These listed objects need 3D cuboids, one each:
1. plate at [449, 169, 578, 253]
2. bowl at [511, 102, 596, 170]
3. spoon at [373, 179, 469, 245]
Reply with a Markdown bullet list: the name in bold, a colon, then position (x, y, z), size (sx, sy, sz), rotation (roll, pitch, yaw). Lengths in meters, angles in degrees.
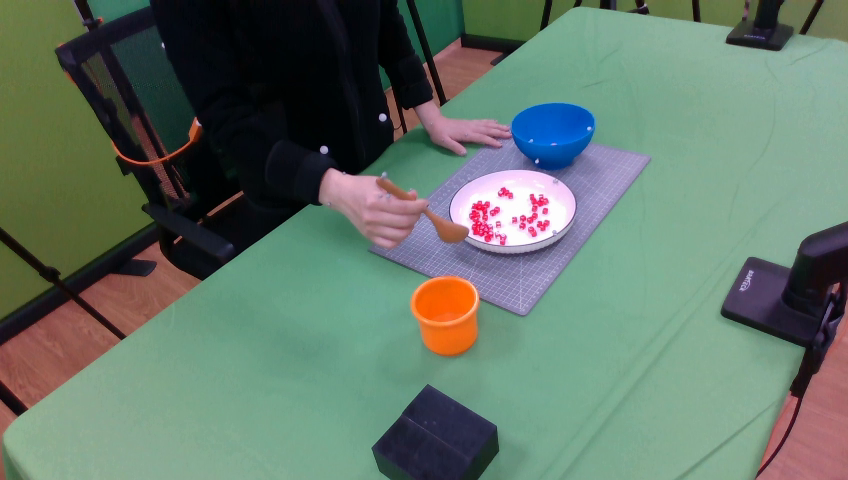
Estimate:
- **plate**: position (0.146, -0.044, 0.993), size (0.209, 0.038, 0.208), rotation (-5, 40, 5)
- **bowl**: position (0.237, -0.181, 1.107), size (0.151, 0.077, 0.150), rotation (-6, 40, 5)
- **spoon**: position (-0.003, -0.034, 0.788), size (0.041, 0.195, 0.021), rotation (-30, 49, 25)
